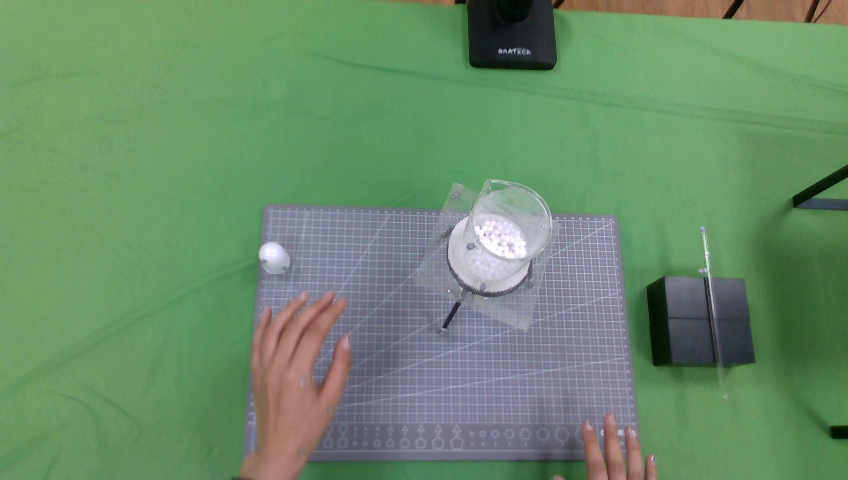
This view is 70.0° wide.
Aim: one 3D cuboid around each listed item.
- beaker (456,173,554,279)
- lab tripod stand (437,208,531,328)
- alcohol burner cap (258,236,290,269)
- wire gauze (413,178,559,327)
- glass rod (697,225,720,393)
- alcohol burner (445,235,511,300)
[{"bbox_3d":[0.069,-0.009,0.573,0.074,0.100,0.083,-22,76,-12],"label":"beaker"},{"bbox_3d":[0.064,0.027,0.681,0.148,0.132,0.147,2,71,-6],"label":"lab tripod stand"},{"bbox_3d":[-0.177,0.013,0.710,0.034,0.048,0.033,1,72,-3],"label":"alcohol burner cap"},{"bbox_3d":[0.065,0.009,0.618,0.125,0.011,0.121,23,74,-1],"label":"wire gauze"},{"bbox_3d":[0.333,0.078,0.709,0.008,0.008,0.198,3,74,-4],"label":"glass rod"},{"bbox_3d":[0.065,0.027,0.691,0.078,0.119,0.077,2,73,-6],"label":"alcohol burner"}]
